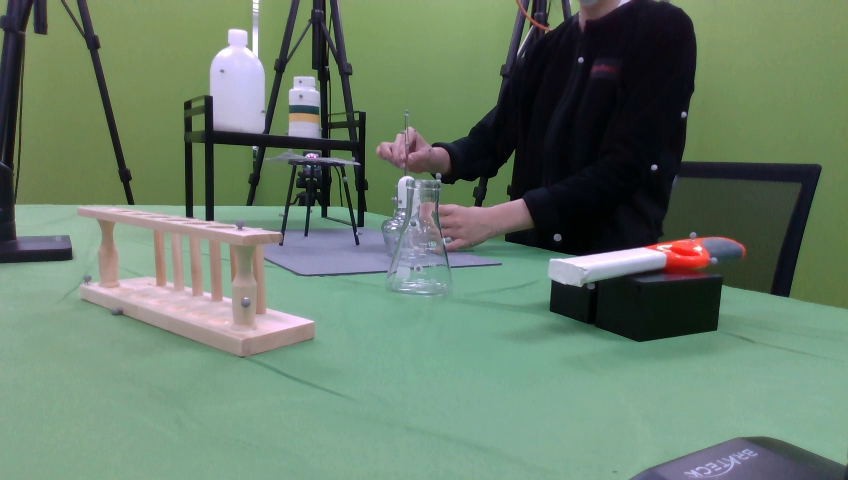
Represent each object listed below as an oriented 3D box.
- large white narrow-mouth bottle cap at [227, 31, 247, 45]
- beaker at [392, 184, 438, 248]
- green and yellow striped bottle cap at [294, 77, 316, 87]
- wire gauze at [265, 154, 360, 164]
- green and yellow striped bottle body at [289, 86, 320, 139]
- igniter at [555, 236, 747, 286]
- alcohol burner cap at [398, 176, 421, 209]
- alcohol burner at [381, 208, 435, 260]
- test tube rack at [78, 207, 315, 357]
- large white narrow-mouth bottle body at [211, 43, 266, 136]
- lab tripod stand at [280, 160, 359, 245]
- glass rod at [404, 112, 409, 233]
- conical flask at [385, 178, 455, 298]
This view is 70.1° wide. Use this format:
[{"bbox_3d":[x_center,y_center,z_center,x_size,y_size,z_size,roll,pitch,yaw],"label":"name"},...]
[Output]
[{"bbox_3d":[-0.361,-0.389,1.166,0.038,0.024,0.037,1,7,0],"label":"large white narrow-mouth bottle cap"},{"bbox_3d":[-0.013,-0.040,0.993,0.074,0.100,0.083,-5,11,-42],"label":"beaker"},{"bbox_3d":[-0.247,-0.326,1.251,0.045,0.020,0.045,0,10,0],"label":"green and yellow striped bottle cap"},{"bbox_3d":[-0.181,-0.129,0.969,0.126,0.011,0.121,-1,7,-27],"label":"wire gauze"},{"bbox_3d":[-0.249,-0.272,1.259,0.063,0.119,0.063,2,8,0],"label":"green and yellow striped bottle body"},{"bbox_3d":[0.221,0.017,0.558,0.278,0.025,0.057,-5,15,-39],"label":"igniter"},{"bbox_3d":[-0.023,-0.068,0.866,0.034,0.048,0.034,-5,8,1],"label":"alcohol burner cap"},{"bbox_3d":[-0.023,-0.032,0.871,0.078,0.119,0.078,0,6,0],"label":"alcohol burner"},{"bbox_3d":[-0.196,0.023,0.500,0.241,0.085,0.067,8,8,37],"label":"test tube rack"},{"bbox_3d":[-0.361,-0.302,1.176,0.102,0.194,0.102,1,7,0],"label":"large white narrow-mouth bottle body"},{"bbox_3d":[-0.176,-0.062,0.973,0.148,0.131,0.148,1,7,0],"label":"lab tripod stand"},{"bbox_3d":[-0.030,-0.109,0.996,0.008,0.199,0.008,1,13,0],"label":"glass rod"},{"bbox_3d":[-0.002,-0.004,0.639,0.075,0.122,0.075,2,7,0],"label":"conical flask"}]
